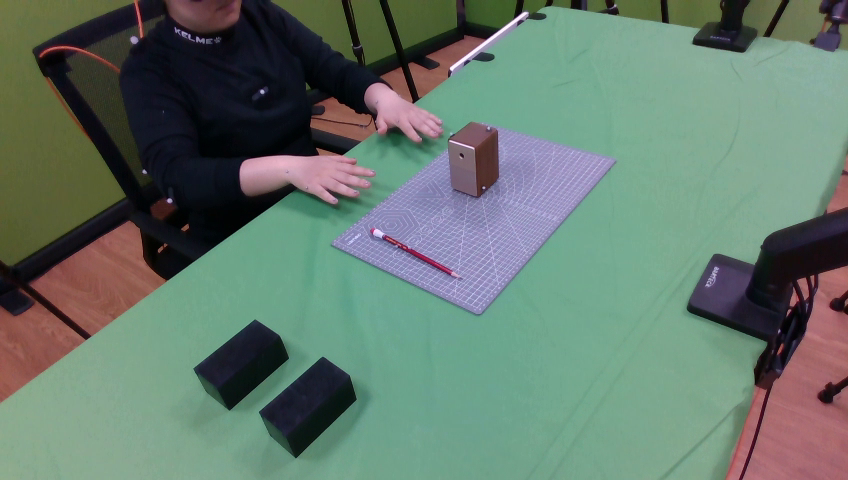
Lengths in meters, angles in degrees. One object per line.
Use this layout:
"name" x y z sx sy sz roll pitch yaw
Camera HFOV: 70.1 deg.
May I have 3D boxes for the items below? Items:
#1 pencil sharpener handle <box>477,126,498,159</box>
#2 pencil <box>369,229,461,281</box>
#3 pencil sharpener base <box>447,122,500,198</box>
"pencil sharpener handle" 0.119 -0.178 1.073 0.035 0.068 0.031 22 48 31
"pencil" -0.016 0.022 0.952 0.192 0.012 0.012 28 51 33
"pencil sharpener base" 0.089 -0.140 1.052 0.061 0.107 0.077 22 48 31
